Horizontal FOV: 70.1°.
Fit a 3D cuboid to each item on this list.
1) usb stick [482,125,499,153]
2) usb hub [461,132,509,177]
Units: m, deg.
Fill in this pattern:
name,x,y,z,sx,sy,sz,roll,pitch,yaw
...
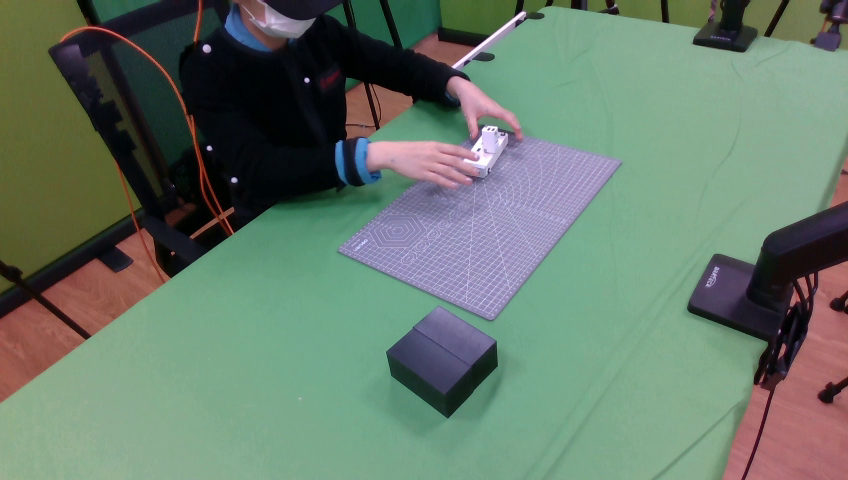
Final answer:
name,x,y,z,sx,sy,sz,roll,pitch,yaw
usb stick,0.122,-0.179,1.107,0.027,0.059,0.021,13,42,21
usb hub,0.116,-0.163,1.135,0.049,0.025,0.125,14,45,22
